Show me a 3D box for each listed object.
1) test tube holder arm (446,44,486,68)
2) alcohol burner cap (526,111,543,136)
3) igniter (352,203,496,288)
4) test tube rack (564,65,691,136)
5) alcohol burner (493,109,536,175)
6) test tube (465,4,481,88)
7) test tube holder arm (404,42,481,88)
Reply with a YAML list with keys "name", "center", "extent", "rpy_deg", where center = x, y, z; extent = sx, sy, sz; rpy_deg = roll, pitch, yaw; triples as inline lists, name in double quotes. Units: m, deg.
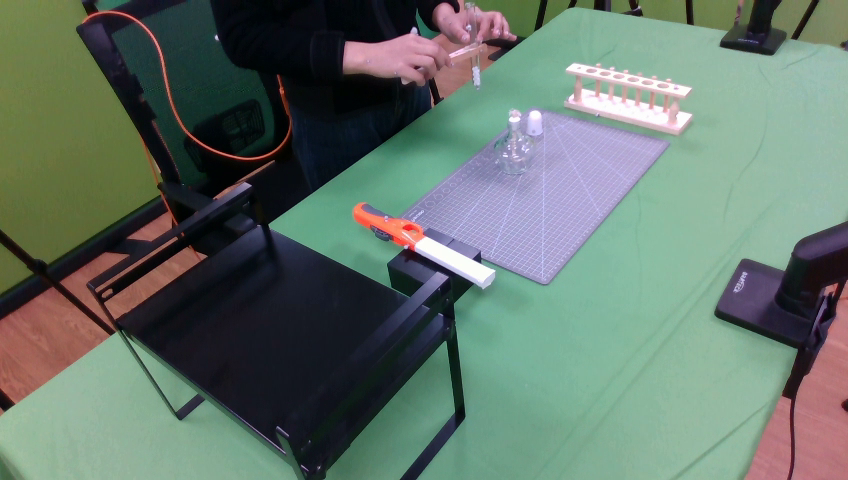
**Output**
- name: "test tube holder arm"
  center: [0.074, -0.329, 1.081]
  extent: [0.088, 0.015, 0.010]
  rpy_deg: [-26, 45, -18]
- name: "alcohol burner cap"
  center: [0.219, -0.232, 1.196]
  extent: [0.034, 0.048, 0.033]
  rpy_deg: [-4, 41, 4]
- name: "igniter"
  center: [-0.011, 0.002, 0.899]
  extent: [0.274, 0.025, 0.057]
  rpy_deg: [27, 45, 33]
- name: "test tube rack"
  center: [0.404, -0.288, 1.204]
  extent: [0.240, 0.085, 0.067]
  rpy_deg: [24, 49, 32]
- name: "alcohol burner"
  center: [0.163, -0.179, 1.087]
  extent: [0.078, 0.119, 0.077]
  rpy_deg: [-5, 39, 5]
- name: "test tube"
  center: [0.089, -0.346, 1.088]
  extent: [0.017, 0.151, 0.017]
  rpy_deg: [-6, 36, 5]
- name: "test tube holder arm"
  center: [0.035, -0.310, 1.067]
  extent: [0.179, 0.015, 0.013]
  rpy_deg: [-34, 47, -25]
